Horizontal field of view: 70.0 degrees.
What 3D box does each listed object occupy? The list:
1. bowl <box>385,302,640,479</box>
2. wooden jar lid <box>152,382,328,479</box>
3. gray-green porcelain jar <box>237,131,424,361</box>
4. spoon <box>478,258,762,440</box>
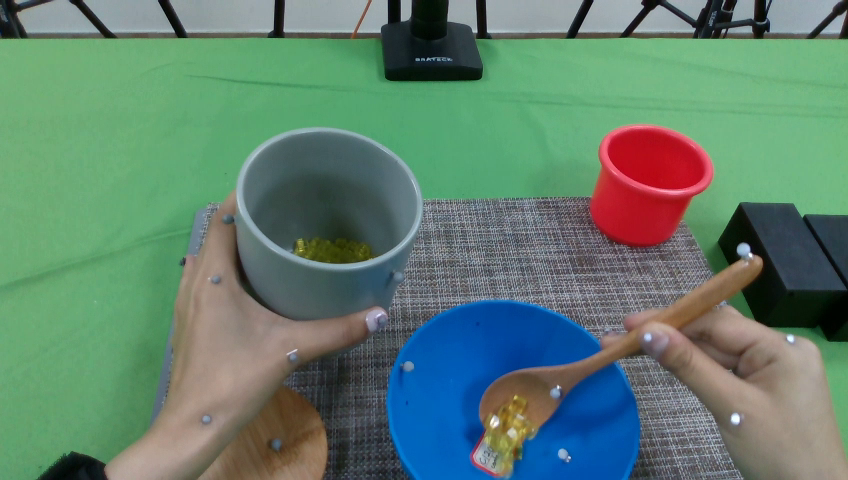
[{"bbox_3d":[0.050,0.122,0.385,0.151,0.077,0.150,2,47,-2],"label":"bowl"},{"bbox_3d":[-0.116,0.144,0.391,0.108,0.021,0.107,2,46,-2],"label":"wooden jar lid"},{"bbox_3d":[-0.065,0.011,0.392,0.106,0.127,0.105,9,53,-11],"label":"gray-green porcelain jar"},{"bbox_3d":[0.107,0.068,0.354,0.041,0.194,0.021,51,32,1],"label":"spoon"}]
